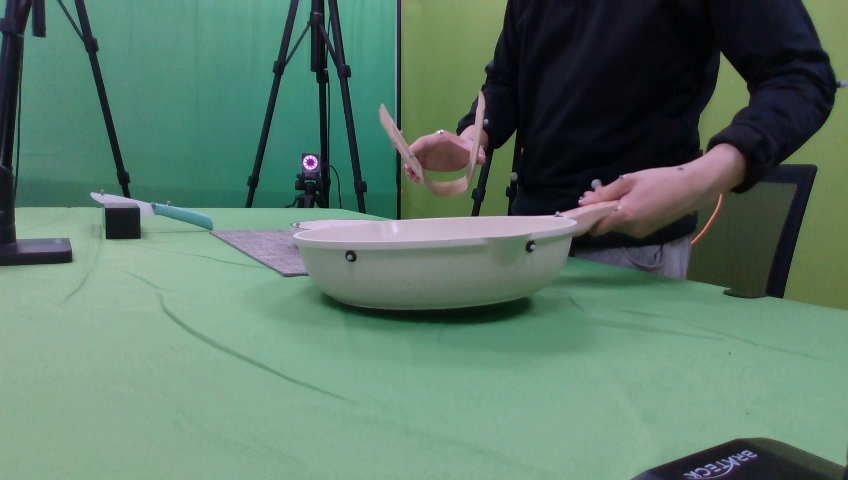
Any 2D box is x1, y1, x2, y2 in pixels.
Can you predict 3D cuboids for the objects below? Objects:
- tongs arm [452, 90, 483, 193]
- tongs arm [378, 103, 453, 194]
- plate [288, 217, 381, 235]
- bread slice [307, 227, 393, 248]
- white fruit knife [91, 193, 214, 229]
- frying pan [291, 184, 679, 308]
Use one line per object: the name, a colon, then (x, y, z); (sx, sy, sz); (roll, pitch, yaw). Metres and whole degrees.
tongs arm: (0.063, -0.129, 0.885); (0.028, 0.027, 0.387); (-11, -9, -1)
tongs arm: (-0.001, -0.122, 0.890); (0.051, 0.026, 0.385); (-9, -10, 7)
plate: (-0.109, -0.008, 0.956); (0.208, 0.039, 0.207); (2, 7, 0)
bread slice: (-0.115, -0.005, 0.950); (0.134, 0.018, 0.107); (3, 7, -7)
white fruit knife: (-0.478, -0.055, 1.077); (0.208, 0.027, 0.016); (14, -1, -30)
frying pan: (0.105, -0.011, 0.676); (0.490, 0.102, 0.305); (-15, 10, -22)
